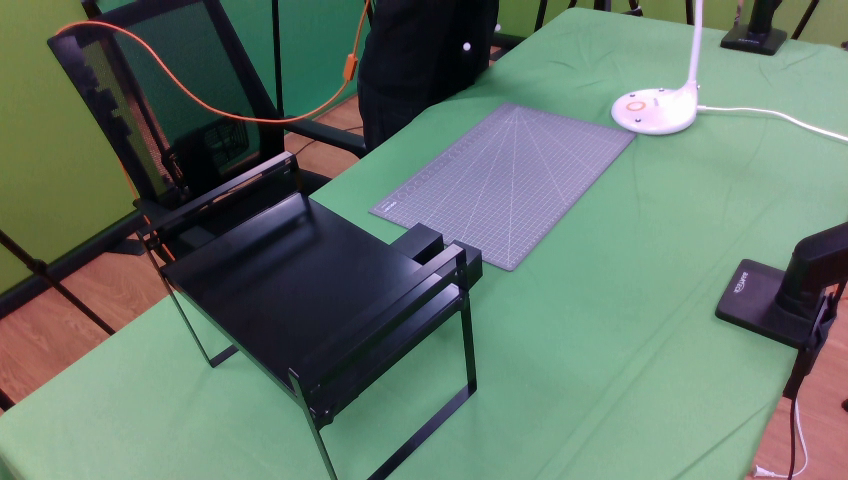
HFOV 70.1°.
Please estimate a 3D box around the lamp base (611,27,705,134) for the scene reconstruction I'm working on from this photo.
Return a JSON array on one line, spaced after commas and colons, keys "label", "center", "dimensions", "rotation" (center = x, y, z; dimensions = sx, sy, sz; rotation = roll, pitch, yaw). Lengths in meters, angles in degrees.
[{"label": "lamp base", "center": [0.459, -0.316, 1.154], "dimensions": [0.179, 0.181, 0.159], "rotation": [-6, 41, -1]}]
